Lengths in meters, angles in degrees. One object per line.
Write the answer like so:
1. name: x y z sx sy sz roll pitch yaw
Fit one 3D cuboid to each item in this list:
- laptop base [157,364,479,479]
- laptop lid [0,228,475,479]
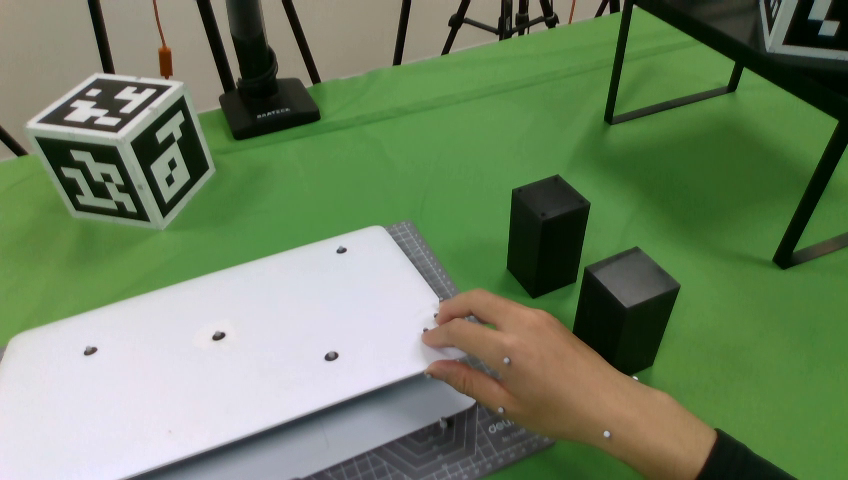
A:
1. laptop base: -0.159 0.119 0.519 0.355 0.023 0.232 -18 47 -16
2. laptop lid: -0.163 0.085 0.493 0.357 0.013 0.239 -17 31 -15
